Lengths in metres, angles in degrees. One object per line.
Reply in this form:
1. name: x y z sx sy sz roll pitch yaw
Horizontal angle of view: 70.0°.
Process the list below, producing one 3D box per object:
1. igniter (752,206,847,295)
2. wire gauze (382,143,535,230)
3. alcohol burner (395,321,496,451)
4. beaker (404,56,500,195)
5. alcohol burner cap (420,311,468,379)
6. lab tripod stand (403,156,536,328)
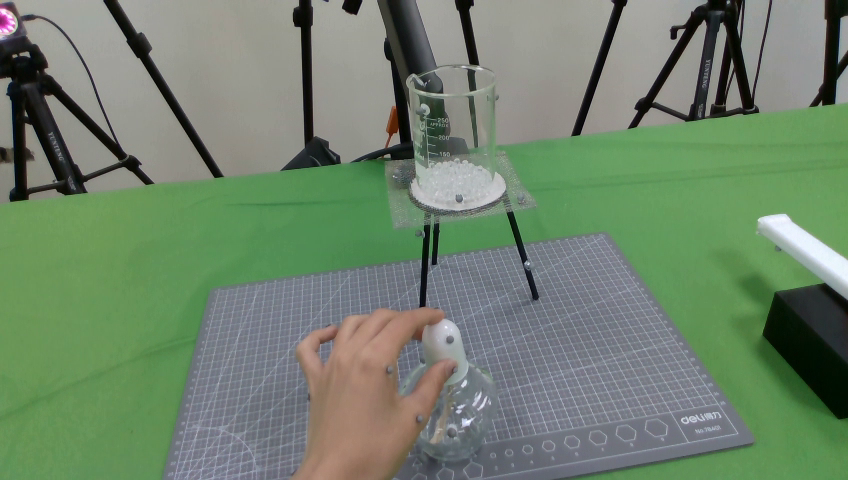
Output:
1. igniter: 0.362 0.043 0.489 0.057 0.025 0.273 -9 32 -5
2. wire gauze: 0.026 -0.055 0.541 0.121 0.011 0.123 -8 37 -4
3. alcohol burner: 0.015 0.101 0.451 0.078 0.120 0.077 -2 37 2
4. beaker: 0.022 -0.096 0.514 0.074 0.101 0.083 -29 41 -32
5. alcohol burner cap: 0.013 0.071 0.431 0.034 0.048 0.033 -6 36 5
6. lab tripod stand: 0.035 -0.004 0.582 0.148 0.132 0.147 -2 34 2
